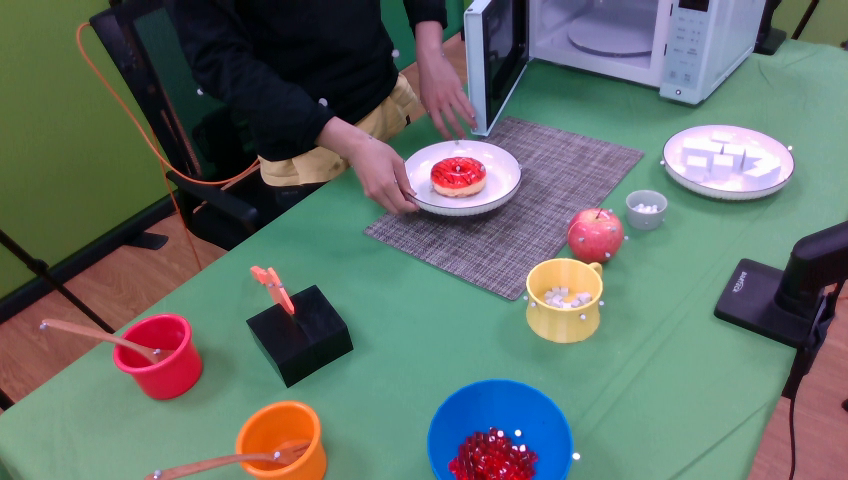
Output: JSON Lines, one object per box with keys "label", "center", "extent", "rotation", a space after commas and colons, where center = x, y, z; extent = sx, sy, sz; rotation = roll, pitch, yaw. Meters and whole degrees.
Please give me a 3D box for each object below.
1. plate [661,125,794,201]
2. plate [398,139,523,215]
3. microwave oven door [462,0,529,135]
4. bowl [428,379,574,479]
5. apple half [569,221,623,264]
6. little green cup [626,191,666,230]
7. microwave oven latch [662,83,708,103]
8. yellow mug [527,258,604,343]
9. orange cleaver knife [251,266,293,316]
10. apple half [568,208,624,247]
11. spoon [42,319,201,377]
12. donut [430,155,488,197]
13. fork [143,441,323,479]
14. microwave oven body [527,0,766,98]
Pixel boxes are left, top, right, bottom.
{"label": "plate", "center": [0.513, -0.128, 1.035], "extent": [0.207, 0.039, 0.206], "rotation": [-4, 40, 4]}
{"label": "plate", "center": [0.062, -0.102, 1.025], "extent": [0.209, 0.038, 0.208], "rotation": [-2, 39, 2]}
{"label": "microwave oven door", "center": [0.155, -0.410, 1.236], "extent": [0.039, 0.245, 0.355], "rotation": [10, 43, 19]}
{"label": "bowl", "center": [0.082, 0.233, 0.644], "extent": [0.151, 0.077, 0.150], "rotation": [-4, 39, 4]}
{"label": "apple half", "center": [0.251, 0.010, 0.884], "extent": [0.081, 0.081, 0.032], "rotation": [3, 37, 12]}
{"label": "little green cup", "center": [0.352, -0.046, 0.963], "extent": [0.061, 0.039, 0.061], "rotation": [-4, 40, 4]}
{"label": "microwave oven latch", "center": [0.517, -0.296, 1.204], "extent": [0.078, 0.029, 0.030], "rotation": [27, 52, 35]}
{"label": "yellow mug", "center": [0.201, 0.073, 0.825], "extent": [0.131, 0.064, 0.099], "rotation": [-32, 46, -27]}
{"label": "orange cleaver knife", "center": [-0.221, 0.071, 0.873], "extent": [0.012, 0.077, 0.210], "rotation": [-25, 11, -21]}
{"label": "apple half", "center": [0.259, -0.014, 0.914], "extent": [0.080, 0.075, 0.053], "rotation": [0, 36, 15]}
{"label": "spoon", "center": [-0.385, 0.135, 0.779], "extent": [0.195, 0.021, 0.041], "rotation": [28, 37, -27]}
{"label": "donut", "center": [0.059, -0.109, 1.016], "extent": [0.099, 0.048, 0.098], "rotation": [-3, 37, 3]}
{"label": "fork", "center": [-0.189, 0.231, 0.631], "extent": [0.028, 0.018, 0.209], "rotation": [35, 13, 37]}
{"label": "microwave oven body", "center": [0.472, -0.513, 1.317], "extent": [0.438, 0.261, 0.327], "rotation": [26, 51, 34]}
